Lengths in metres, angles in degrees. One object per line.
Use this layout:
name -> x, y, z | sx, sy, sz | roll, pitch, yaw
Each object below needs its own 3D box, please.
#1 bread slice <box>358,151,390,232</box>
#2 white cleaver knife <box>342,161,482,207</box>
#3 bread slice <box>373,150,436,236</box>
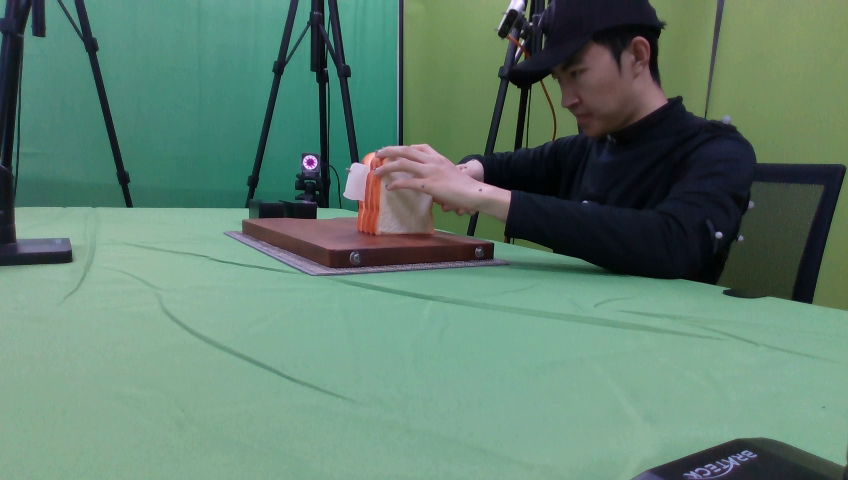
bread slice -> -0.062, -0.079, 0.984 | 0.105, 0.131, 0.019 | -1, 3, -40
white cleaver knife -> -0.013, -0.078, 1.013 | 0.288, 0.066, 0.021 | 8, 2, -37
bread slice -> -0.031, -0.073, 0.938 | 0.107, 0.134, 0.018 | -5, 10, -34
